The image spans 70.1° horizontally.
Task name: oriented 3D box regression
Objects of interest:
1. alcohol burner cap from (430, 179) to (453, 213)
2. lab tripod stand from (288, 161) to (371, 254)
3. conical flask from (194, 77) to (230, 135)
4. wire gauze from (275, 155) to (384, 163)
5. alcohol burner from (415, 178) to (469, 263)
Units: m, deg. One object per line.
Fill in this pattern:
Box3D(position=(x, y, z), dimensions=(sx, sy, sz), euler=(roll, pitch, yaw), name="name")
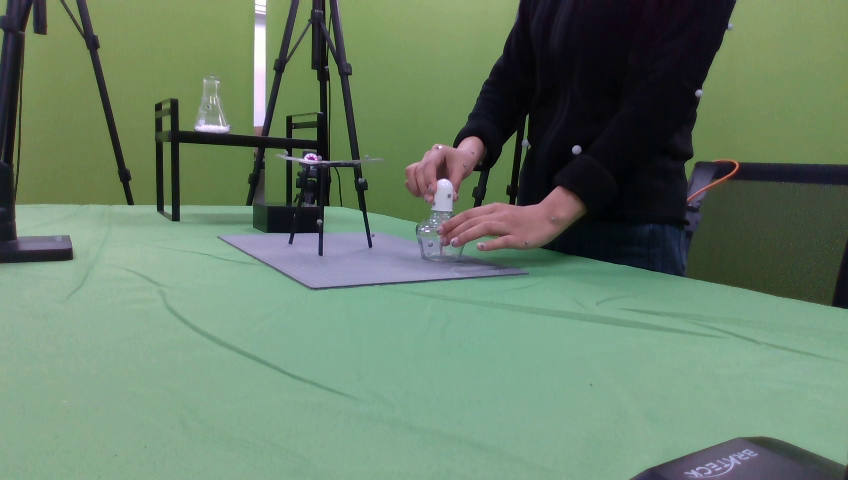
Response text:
Box3D(position=(0.026, -0.063, 0.857), dimensions=(0.034, 0.048, 0.034), euler=(3, 7, 0), name="alcohol burner cap")
Box3D(position=(-0.148, -0.052, 0.909), dimensions=(0.148, 0.131, 0.148), euler=(1, 8, 0), name="lab tripod stand")
Box3D(position=(-0.461, -0.292, 1.317), dimensions=(0.075, 0.122, 0.075), euler=(2, 7, 0), name="conical flask")
Box3D(position=(-0.142, -0.118, 0.900), dimensions=(0.122, 0.011, 0.124), euler=(-3, 8, -37), name="wire gauze")
Box3D(position=(0.026, -0.028, 0.863), dimensions=(0.078, 0.119, 0.078), euler=(1, 7, 0), name="alcohol burner")
